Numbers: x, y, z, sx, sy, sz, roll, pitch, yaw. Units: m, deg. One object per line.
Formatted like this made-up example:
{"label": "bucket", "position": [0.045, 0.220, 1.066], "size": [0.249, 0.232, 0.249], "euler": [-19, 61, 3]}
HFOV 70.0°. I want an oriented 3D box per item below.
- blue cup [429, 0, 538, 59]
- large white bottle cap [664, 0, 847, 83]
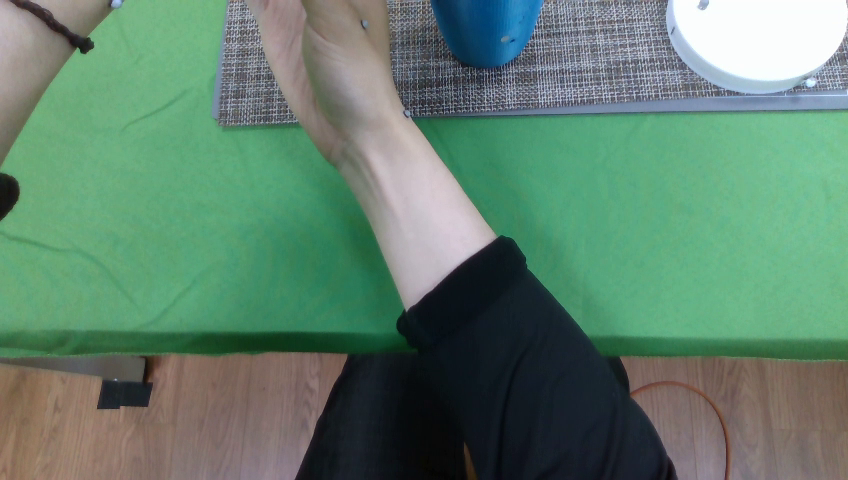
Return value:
{"label": "blue cup", "position": [0.038, -0.169, 0.389], "size": [0.092, 0.101, 0.092], "euler": [-2, 74, 6]}
{"label": "large white bottle cap", "position": [0.226, -0.162, 0.415], "size": [0.115, 0.018, 0.114], "euler": [-1, 74, 5]}
